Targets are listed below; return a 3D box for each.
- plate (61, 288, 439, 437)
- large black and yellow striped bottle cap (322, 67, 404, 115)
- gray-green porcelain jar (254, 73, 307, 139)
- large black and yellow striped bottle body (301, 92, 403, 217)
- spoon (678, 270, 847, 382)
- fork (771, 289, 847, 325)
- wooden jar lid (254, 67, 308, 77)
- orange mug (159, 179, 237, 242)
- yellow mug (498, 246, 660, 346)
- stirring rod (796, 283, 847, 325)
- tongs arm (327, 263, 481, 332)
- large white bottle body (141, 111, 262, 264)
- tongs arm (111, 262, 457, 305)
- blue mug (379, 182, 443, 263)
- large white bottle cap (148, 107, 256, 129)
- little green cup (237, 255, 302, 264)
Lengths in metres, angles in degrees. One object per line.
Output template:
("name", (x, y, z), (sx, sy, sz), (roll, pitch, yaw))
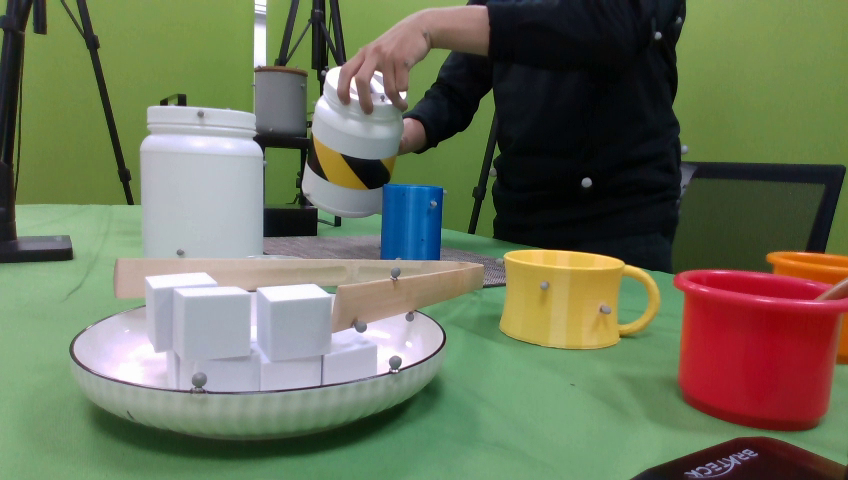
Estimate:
("plate", (-0.095, 0.069, 0.362), (0.208, 0.039, 0.207), (3, 7, 0))
("large black and yellow striped bottle cap", (-0.084, -0.211, 0.848), (0.115, 0.019, 0.115), (11, 35, -8))
("gray-green porcelain jar", (-0.298, -0.277, 1.259), (0.106, 0.126, 0.106), (3, 7, 0))
("large black and yellow striped bottle body", (-0.106, -0.142, 0.896), (0.131, 0.184, 0.130), (12, 33, -8))
("spoon", (0.229, 0.031, 0.338), (0.193, 0.021, 0.042), (-44, -16, 27))
("fork", (0.335, 0.018, 0.443), (0.028, 0.018, 0.207), (-1, -36, -20))
("wooden jar lid", (-0.296, -0.339, 1.251), (0.108, 0.020, 0.108), (2, 7, 0))
("orange mug", (-0.368, -0.052, 0.991), (0.127, 0.101, 0.083), (-10, 14, -41))
("yellow mug", (0.130, 0.045, 0.508), (0.131, 0.064, 0.100), (4, 7, 6))
("stirring rod", (0.346, 0.019, 0.460), (0.014, 0.176, 0.006), (-17, 59, -26))
("tongs arm", (-0.003, 0.036, 0.493), (0.050, 0.026, 0.386), (1, -1, 19))
("large white bottle body", (-0.254, -0.053, 0.697), (0.131, 0.184, 0.130), (2, 7, 0))
("tongs arm", (-0.080, 0.033, 0.527), (0.028, 0.027, 0.389), (-3, -4, 33))
("blue mug", (-0.019, -0.026, 0.833), (0.082, 0.106, 0.116), (1, 7, -7))
("large white bottle cap", (-0.250, -0.137, 0.686), (0.115, 0.018, 0.115), (3, 8, 0))
("little green cup", (-0.150, 0.038, 0.590), (0.061, 0.038, 0.061), (3, 7, 0))
